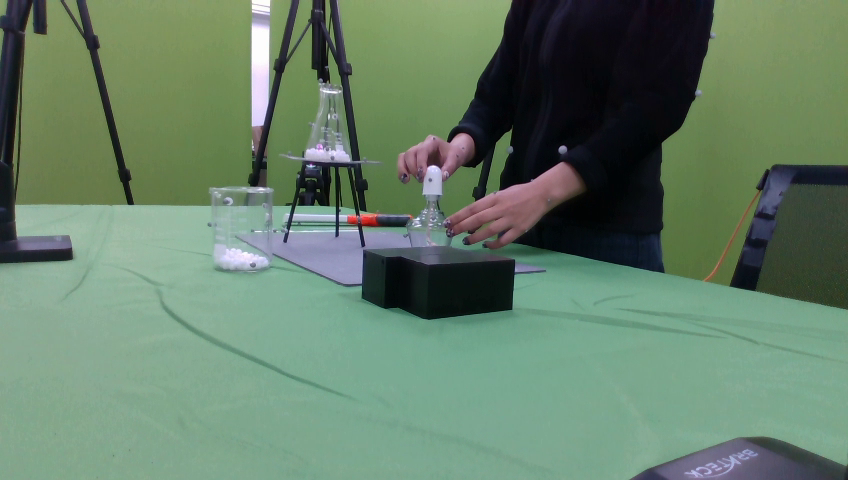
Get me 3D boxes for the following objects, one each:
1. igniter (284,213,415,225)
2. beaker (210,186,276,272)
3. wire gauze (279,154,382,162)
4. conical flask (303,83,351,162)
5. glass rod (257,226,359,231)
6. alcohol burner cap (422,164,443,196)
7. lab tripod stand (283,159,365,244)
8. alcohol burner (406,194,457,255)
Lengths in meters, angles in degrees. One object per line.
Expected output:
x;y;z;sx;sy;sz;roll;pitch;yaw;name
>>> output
-0.154;-0.045;1.282;0.278;0.025;0.057;0;-3;-20;igniter
-0.224;-0.014;0.738;0.084;0.100;0.074;4;7;16;beaker
-0.149;-0.128;0.974;0.124;0.011;0.122;6;6;41;wire gauze
-0.151;-0.186;0.963;0.075;0.122;0.075;4;6;0;conical flask
-0.216;-0.022;1.151;0.201;0.008;0.008;-2;8;-28;glass rod
0.013;-0.091;0.915;0.034;0.048;0.034;0;3;0;alcohol burner cap
-0.151;-0.063;0.983;0.148;0.131;0.148;4;7;0;lab tripod stand
0.012;-0.038;0.919;0.078;0.119;0.078;3;5;0;alcohol burner
